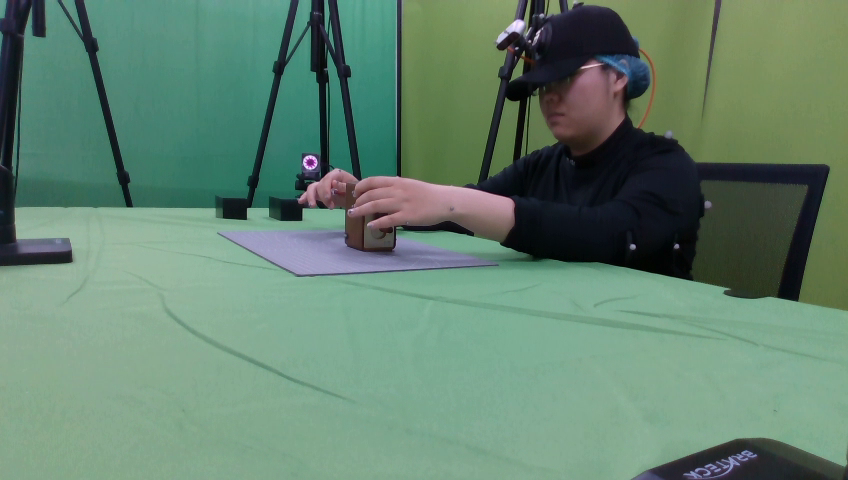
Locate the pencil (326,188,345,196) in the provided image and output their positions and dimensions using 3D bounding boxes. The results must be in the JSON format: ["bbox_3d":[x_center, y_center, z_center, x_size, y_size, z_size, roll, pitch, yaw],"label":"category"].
[{"bbox_3d":[-0.124,-0.076,1.024,0.012,0.012,0.193,-2,9,-32],"label":"pencil"}]

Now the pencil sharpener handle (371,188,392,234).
[{"bbox_3d":[-0.059,-0.044,0.912,0.036,0.067,0.030,2,7,-32],"label":"pencil sharpener handle"}]

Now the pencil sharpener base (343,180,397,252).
[{"bbox_3d":[-0.085,-0.038,0.957,0.062,0.107,0.076,-1,9,-31],"label":"pencil sharpener base"}]
